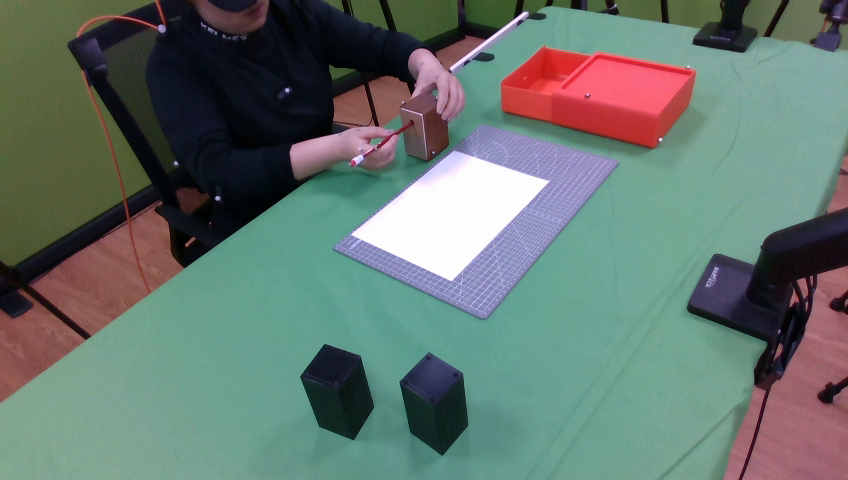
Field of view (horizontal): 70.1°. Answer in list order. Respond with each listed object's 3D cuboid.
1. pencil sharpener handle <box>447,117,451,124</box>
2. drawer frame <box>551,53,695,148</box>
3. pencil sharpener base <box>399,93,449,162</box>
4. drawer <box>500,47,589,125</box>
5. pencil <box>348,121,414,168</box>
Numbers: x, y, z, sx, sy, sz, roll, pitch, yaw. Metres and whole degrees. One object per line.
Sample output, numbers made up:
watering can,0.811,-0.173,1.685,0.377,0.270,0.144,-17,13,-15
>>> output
pencil sharpener handle,0.034,-0.253,1.179,0.035,0.068,0.031,18,46,36
drawer frame,0.391,-0.281,1.196,0.212,0.083,0.202,22,48,29
pencil sharpener base,0.003,-0.216,1.159,0.061,0.107,0.077,23,48,32
drawer,0.295,-0.316,1.255,0.210,0.073,0.195,22,47,29
pencil,-0.068,-0.176,1.075,0.012,0.012,0.194,22,46,31
